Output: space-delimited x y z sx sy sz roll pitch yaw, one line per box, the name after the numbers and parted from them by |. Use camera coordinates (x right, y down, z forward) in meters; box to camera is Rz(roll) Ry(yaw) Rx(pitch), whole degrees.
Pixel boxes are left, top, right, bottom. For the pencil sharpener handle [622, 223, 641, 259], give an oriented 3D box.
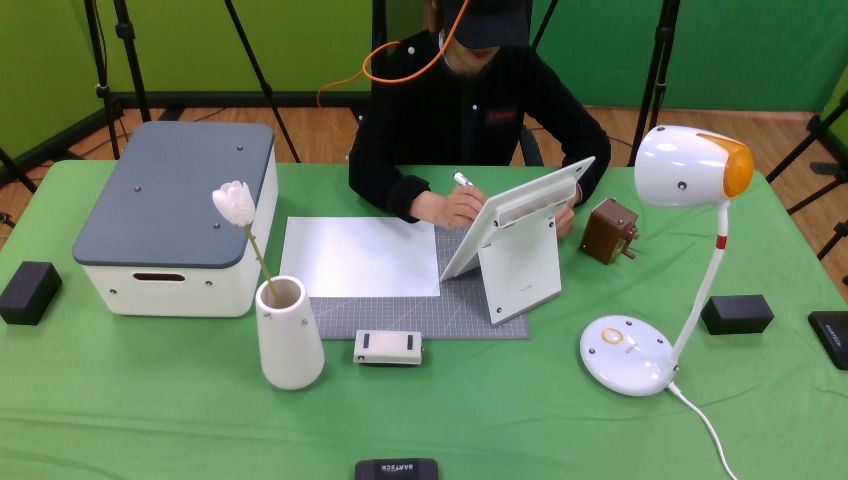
0.397 0.003 1.146 0.030 0.068 0.036 37 45 27 | pencil sharpener handle

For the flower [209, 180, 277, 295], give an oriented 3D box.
-0.217 0.075 0.871 0.044 0.363 0.038 -29 36 -19 | flower

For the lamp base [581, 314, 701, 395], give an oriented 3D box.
0.361 0.145 0.973 0.178 0.181 0.160 34 53 23 | lamp base

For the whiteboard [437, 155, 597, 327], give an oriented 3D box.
0.180 0.024 1.029 0.217 0.306 0.143 -21 70 -23 | whiteboard

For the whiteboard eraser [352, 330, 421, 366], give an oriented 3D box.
-0.060 0.180 1.005 0.113 0.042 0.055 3 48 -2 | whiteboard eraser

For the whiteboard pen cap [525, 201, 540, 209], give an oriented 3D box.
0.230 -0.074 1.289 0.033 0.018 0.018 4 46 3 | whiteboard pen cap

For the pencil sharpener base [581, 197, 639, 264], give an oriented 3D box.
0.362 -0.017 1.179 0.076 0.107 0.061 37 54 27 | pencil sharpener base

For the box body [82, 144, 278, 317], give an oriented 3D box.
-0.421 -0.041 1.108 0.254 0.161 0.361 2 46 -3 | box body

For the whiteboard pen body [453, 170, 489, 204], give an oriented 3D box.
0.095 -0.079 1.050 0.017 0.017 0.140 -25 52 -25 | whiteboard pen body

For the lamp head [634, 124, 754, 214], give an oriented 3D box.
0.351 -0.089 0.776 0.112 0.113 0.122 -30 30 -28 | lamp head

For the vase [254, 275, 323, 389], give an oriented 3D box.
-0.209 0.143 0.921 0.098 0.201 0.097 1 46 -1 | vase

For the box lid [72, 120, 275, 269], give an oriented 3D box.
-0.417 -0.094 1.056 0.263 0.015 0.369 1 47 -3 | box lid
